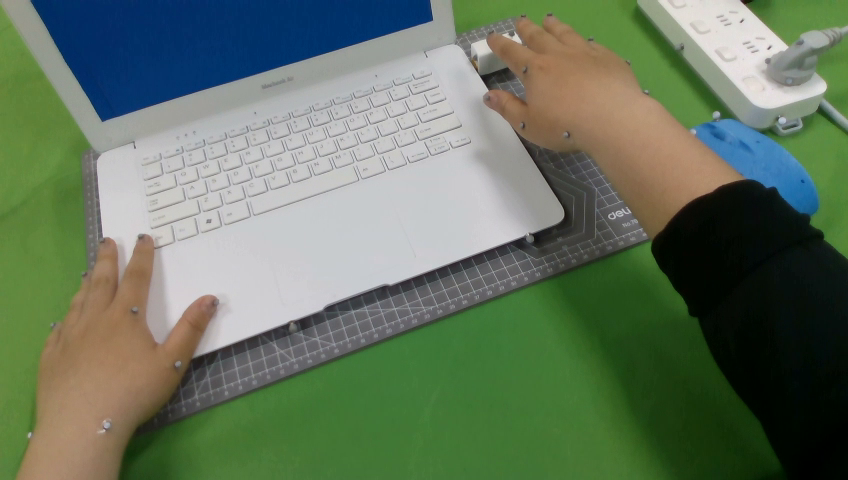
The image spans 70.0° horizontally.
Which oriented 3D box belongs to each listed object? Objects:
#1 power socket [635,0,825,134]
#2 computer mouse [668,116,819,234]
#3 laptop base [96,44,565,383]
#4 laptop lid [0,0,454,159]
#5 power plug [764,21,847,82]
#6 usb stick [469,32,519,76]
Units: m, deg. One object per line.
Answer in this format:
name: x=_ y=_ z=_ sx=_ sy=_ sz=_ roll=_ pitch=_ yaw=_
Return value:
power socket: x=0.276 y=-0.188 z=0.565 sx=0.072 sy=0.033 sz=0.224 roll=-17 pitch=56 yaw=-5
computer mouse: x=0.249 y=-0.058 z=0.476 sx=0.063 sy=0.041 sz=0.116 roll=-20 pitch=51 yaw=-6
laptop base: x=-0.090 y=-0.042 z=0.514 sx=0.355 sy=0.023 sz=0.233 roll=-20 pitch=59 yaw=-8
laptop lid: x=-0.153 y=-0.214 z=0.498 sx=0.357 sy=0.244 sz=0.013 roll=-21 pitch=43 yaw=-7
power plug: x=0.325 y=-0.151 z=0.510 sx=0.072 sy=0.053 sz=0.035 roll=-8 pitch=57 yaw=0
usb stick: x=0.060 y=-0.173 z=0.573 sx=0.059 sy=0.027 sz=0.021 roll=-21 pitch=55 yaw=-4
